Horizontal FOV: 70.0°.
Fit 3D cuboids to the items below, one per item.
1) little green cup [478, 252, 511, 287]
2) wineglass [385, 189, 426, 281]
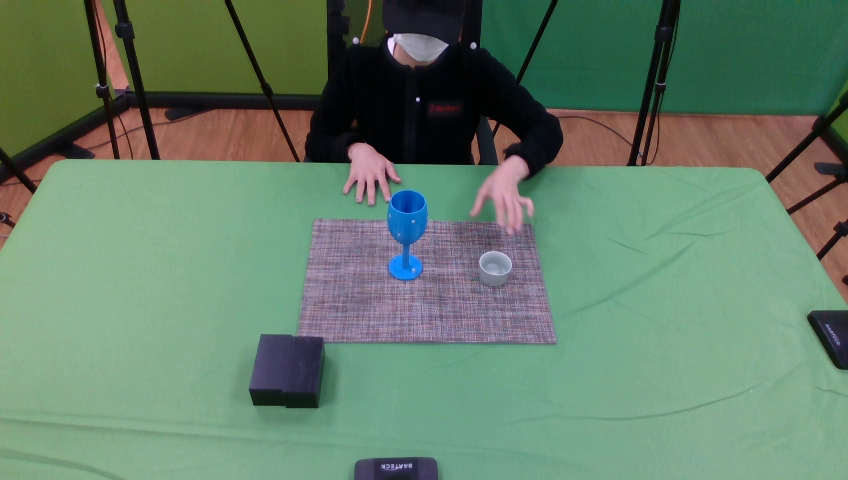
[{"bbox_3d":[0.131,0.057,1.137,0.061,0.039,0.061,2,46,-2],"label":"little green cup"},{"bbox_3d":[-0.034,-0.006,1.091,0.074,0.173,0.073,2,46,-2],"label":"wineglass"}]
